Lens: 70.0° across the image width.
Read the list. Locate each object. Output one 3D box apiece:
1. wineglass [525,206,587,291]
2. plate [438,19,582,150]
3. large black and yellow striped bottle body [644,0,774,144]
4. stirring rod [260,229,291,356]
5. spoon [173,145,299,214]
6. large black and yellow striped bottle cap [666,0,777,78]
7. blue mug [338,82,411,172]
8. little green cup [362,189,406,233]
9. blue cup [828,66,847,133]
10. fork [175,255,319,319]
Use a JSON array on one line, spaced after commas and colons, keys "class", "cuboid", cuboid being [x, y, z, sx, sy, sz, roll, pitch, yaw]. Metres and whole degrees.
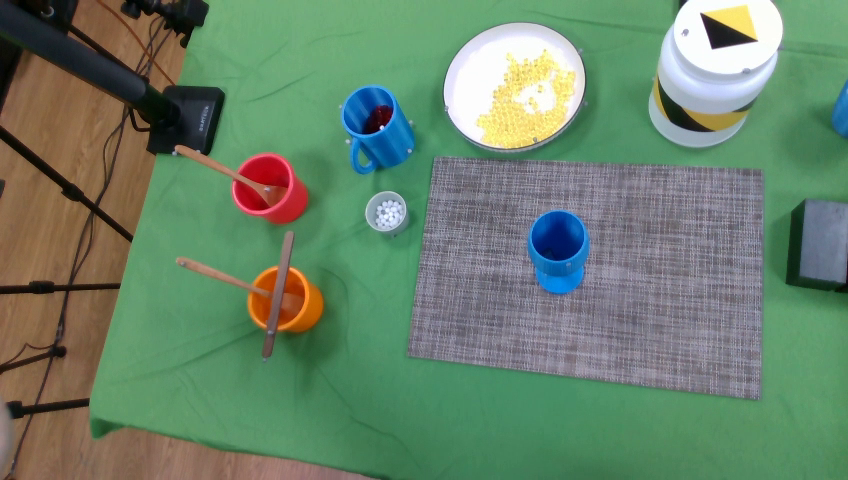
[{"class": "wineglass", "cuboid": [0.163, 0.015, 0.746, 0.073, 0.173, 0.073, -3, 74, 12]}, {"class": "plate", "cuboid": [0.126, -0.227, 0.896, 0.209, 0.038, 0.208, -3, 75, 12]}, {"class": "large black and yellow striped bottle body", "cuboid": [0.355, -0.216, 0.764, 0.130, 0.185, 0.130, -3, 74, 12]}, {"class": "stirring rod", "cuboid": [-0.202, 0.070, 0.827, 0.014, 0.006, 0.175, 3, 77, 15]}, {"class": "spoon", "cuboid": [-0.274, -0.093, 0.893, 0.195, 0.021, 0.041, 29, 81, -26]}, {"class": "large black and yellow striped bottle cap", "cuboid": [0.335, -0.239, 0.685, 0.115, 0.019, 0.114, -3, 74, 11]}, {"class": "blue mug", "cuboid": [-0.078, -0.154, 0.886, 0.082, 0.106, 0.116, 25, 82, 18]}, {"class": "little green cup", "cuboid": [-0.055, -0.039, 0.886, 0.061, 0.039, 0.061, -3, 75, 13]}, {"class": "blue cup", "cuboid": [0.554, -0.179, 0.753, 0.092, 0.101, 0.092, -4, 74, 14]}, {"class": "fork", "cuboid": [-0.242, 0.065, 0.841, 0.209, 0.018, 0.028, 26, 86, -26]}]
